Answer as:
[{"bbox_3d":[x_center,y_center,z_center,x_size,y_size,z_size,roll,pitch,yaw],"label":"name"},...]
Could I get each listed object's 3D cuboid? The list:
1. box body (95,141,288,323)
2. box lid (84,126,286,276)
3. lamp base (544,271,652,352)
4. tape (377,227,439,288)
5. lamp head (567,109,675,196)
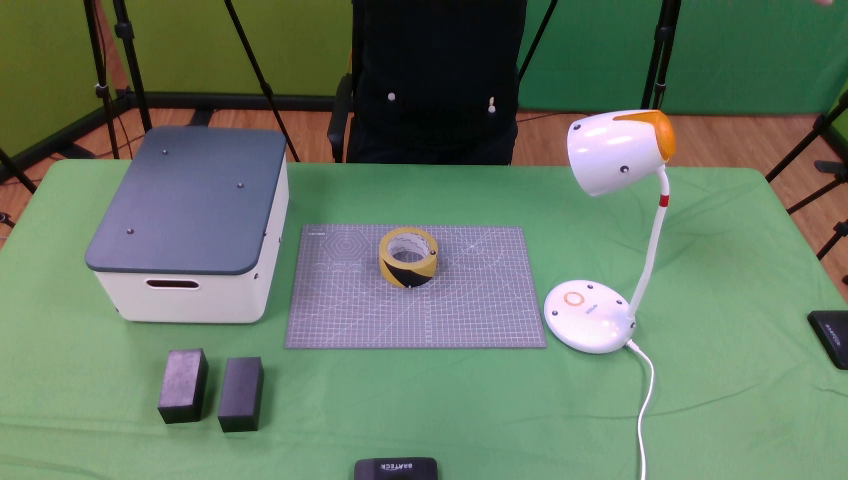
[{"bbox_3d":[-0.396,-0.031,1.100,0.254,0.161,0.361,1,46,-3],"label":"box body"},{"bbox_3d":[-0.393,-0.081,1.046,0.263,0.015,0.369,2,46,-3],"label":"box lid"},{"bbox_3d":[0.309,0.086,1.029,0.178,0.181,0.160,32,52,21],"label":"lamp base"},{"bbox_3d":[-0.031,0.032,1.140,0.117,0.053,0.116,2,46,-2],"label":"tape"},{"bbox_3d":[0.272,-0.123,0.818,0.122,0.113,0.112,-9,35,37],"label":"lamp head"}]
